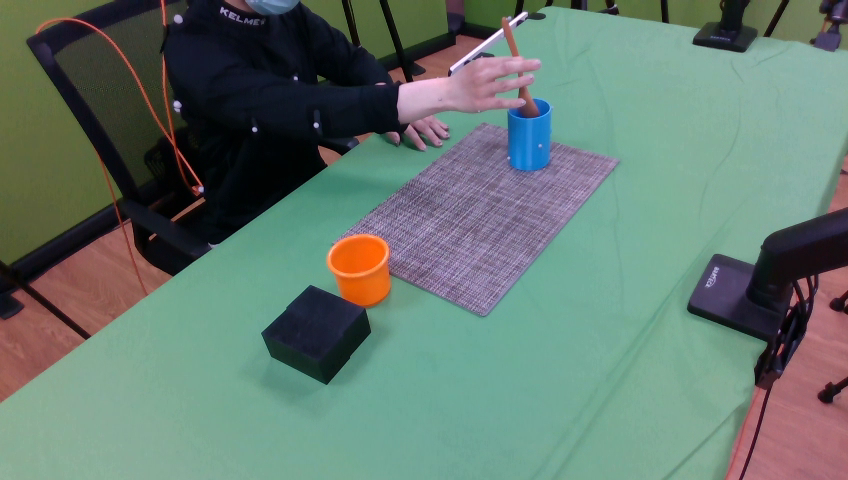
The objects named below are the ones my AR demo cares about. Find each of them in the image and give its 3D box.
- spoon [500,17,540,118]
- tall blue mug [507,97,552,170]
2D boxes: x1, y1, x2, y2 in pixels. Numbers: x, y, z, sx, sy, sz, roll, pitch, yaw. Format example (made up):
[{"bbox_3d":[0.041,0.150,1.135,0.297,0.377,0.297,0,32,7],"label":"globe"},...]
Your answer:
[{"bbox_3d":[0.158,-0.282,1.014,0.041,0.195,0.022,14,49,41],"label":"spoon"},{"bbox_3d":[0.179,-0.198,1.101,0.078,0.108,0.106,-36,49,-28],"label":"tall blue mug"}]
